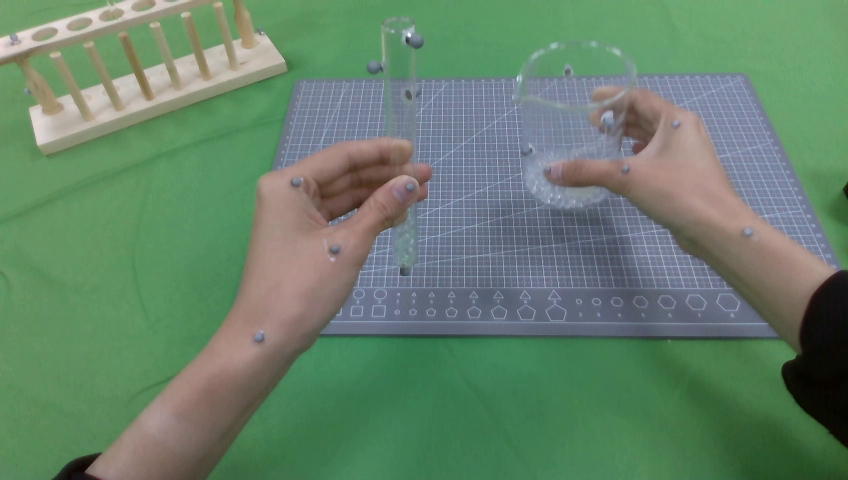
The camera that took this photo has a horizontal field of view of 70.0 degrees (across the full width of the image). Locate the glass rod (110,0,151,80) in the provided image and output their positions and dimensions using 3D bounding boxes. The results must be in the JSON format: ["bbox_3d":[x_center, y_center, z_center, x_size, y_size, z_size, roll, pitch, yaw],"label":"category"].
[{"bbox_3d":[-0.277,-0.219,0.532,0.008,0.201,0.008,1,53,-1],"label":"glass rod"}]

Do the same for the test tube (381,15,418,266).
[{"bbox_3d":[-0.011,-0.042,0.320,0.017,0.151,0.017,0,43,0],"label":"test tube"}]

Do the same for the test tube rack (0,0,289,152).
[{"bbox_3d":[-0.264,-0.177,0.583,0.242,0.086,0.066,-25,54,-16],"label":"test tube rack"}]

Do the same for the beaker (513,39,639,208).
[{"bbox_3d":[0.104,-0.078,0.434,0.084,0.101,0.073,-18,49,-6],"label":"beaker"}]
